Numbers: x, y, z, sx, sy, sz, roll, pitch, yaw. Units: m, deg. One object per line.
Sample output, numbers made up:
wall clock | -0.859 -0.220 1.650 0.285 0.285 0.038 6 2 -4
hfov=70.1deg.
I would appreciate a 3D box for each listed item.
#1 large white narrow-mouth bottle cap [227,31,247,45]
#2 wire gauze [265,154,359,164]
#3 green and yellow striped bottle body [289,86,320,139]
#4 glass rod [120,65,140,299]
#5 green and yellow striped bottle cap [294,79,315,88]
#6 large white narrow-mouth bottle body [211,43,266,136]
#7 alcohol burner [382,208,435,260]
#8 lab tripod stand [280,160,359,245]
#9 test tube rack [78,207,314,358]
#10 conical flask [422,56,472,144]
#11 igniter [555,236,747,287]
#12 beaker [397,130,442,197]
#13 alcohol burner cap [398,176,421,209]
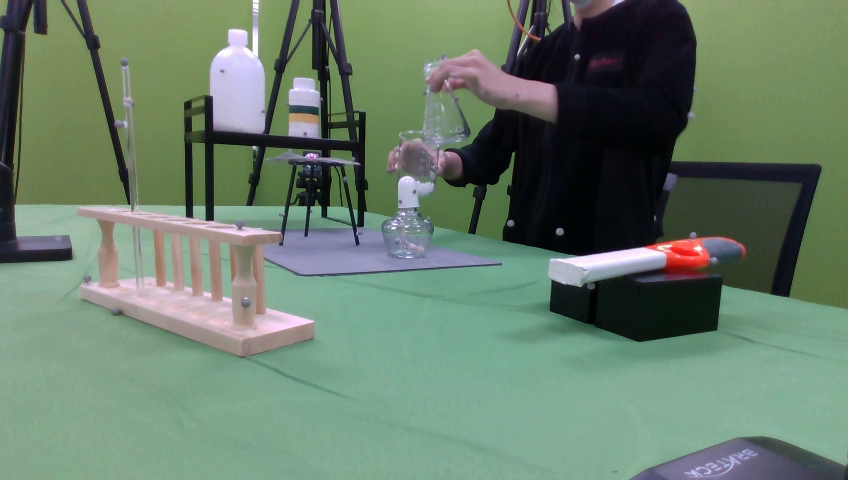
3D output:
large white narrow-mouth bottle cap | -0.361 -0.389 1.166 0.038 0.024 0.037 1 7 0
wire gauze | -0.181 -0.129 0.969 0.126 0.011 0.121 -1 7 -27
green and yellow striped bottle body | -0.250 -0.272 1.261 0.063 0.119 0.063 3 8 0
glass rod | -0.249 -0.047 0.512 0.008 0.199 0.008 -1 4 0
green and yellow striped bottle cap | -0.248 -0.323 1.256 0.045 0.020 0.045 4 9 0
large white narrow-mouth bottle body | -0.361 -0.302 1.176 0.102 0.194 0.102 1 7 0
alcohol burner | -0.023 -0.032 0.872 0.078 0.119 0.078 0 6 0
lab tripod stand | -0.176 -0.062 0.973 0.148 0.131 0.148 0 7 0
test tube rack | -0.196 0.024 0.499 0.241 0.085 0.067 8 8 37
conical flask | 0.027 -0.207 0.895 0.075 0.122 0.075 -9 6 1
igniter | 0.221 0.017 0.558 0.278 0.025 0.057 -5 15 -39
beaker | -0.008 -0.130 1.038 0.074 0.100 0.083 -17 32 -40
alcohol burner cap | -0.023 -0.068 0.866 0.034 0.048 0.034 -5 8 1
